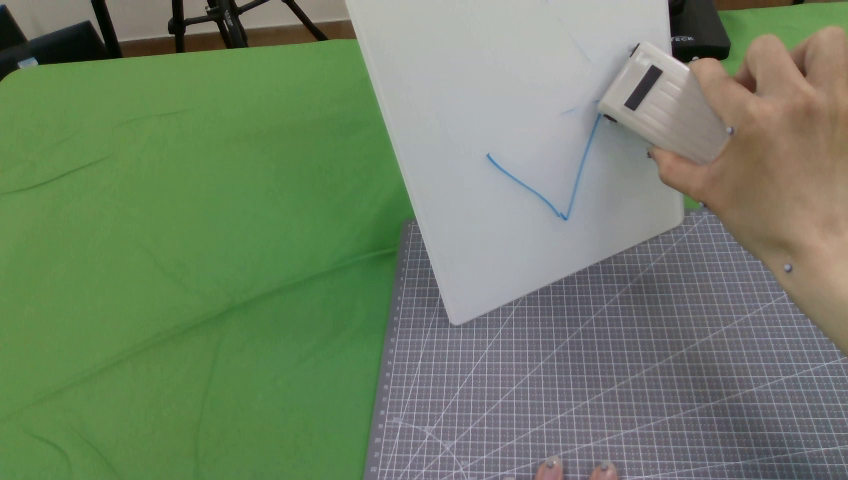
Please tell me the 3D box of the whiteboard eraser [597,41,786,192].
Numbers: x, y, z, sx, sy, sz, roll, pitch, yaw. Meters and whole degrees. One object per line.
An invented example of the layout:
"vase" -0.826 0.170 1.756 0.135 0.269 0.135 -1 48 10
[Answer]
"whiteboard eraser" 0.179 -0.084 0.413 0.112 0.056 0.042 34 22 7

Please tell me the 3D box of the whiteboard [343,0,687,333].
"whiteboard" 0.059 -0.124 0.471 0.217 0.308 0.142 -23 29 -9
